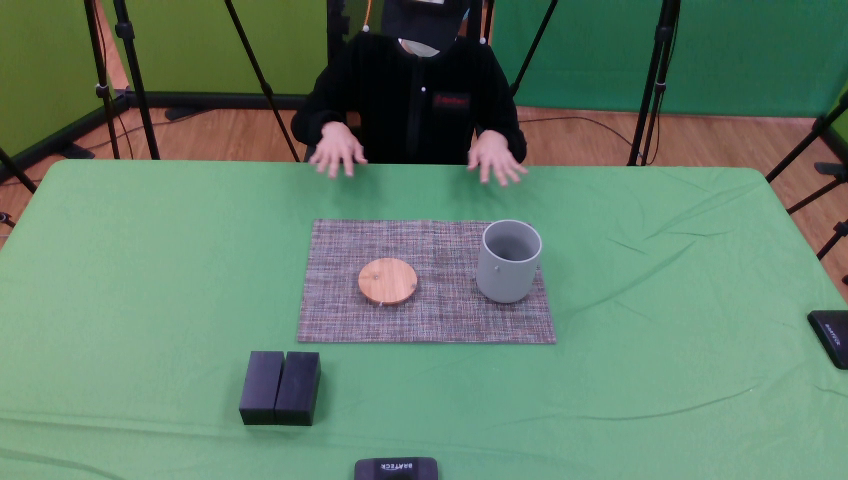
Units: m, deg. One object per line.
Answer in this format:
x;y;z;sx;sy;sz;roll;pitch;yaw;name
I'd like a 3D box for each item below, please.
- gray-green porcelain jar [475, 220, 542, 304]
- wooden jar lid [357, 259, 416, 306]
0.148;0.044;1.090;0.106;0.127;0.105;2;46;-2;gray-green porcelain jar
-0.069;0.079;1.113;0.108;0.021;0.107;3;47;-3;wooden jar lid
